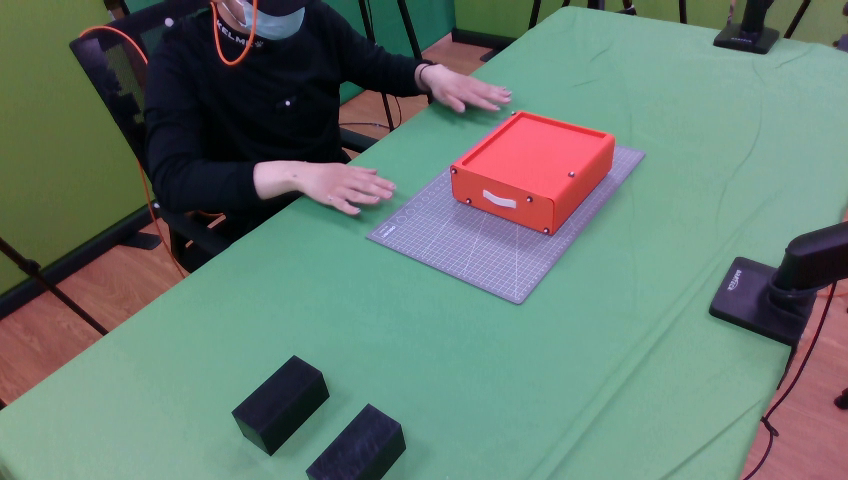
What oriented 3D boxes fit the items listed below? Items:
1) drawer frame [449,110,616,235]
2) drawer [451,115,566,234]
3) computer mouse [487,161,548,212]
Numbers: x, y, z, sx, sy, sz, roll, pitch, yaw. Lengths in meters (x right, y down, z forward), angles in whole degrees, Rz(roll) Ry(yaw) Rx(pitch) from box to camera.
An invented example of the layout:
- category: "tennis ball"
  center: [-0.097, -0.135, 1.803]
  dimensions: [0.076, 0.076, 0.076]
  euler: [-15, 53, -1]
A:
- category: "drawer frame"
  center: [0.186, -0.124, 1.035]
  dimensions: [0.200, 0.083, 0.214]
  euler: [23, 48, 31]
- category: "drawer"
  center: [0.185, -0.121, 1.034]
  dimensions: [0.193, 0.073, 0.212]
  euler: [23, 48, 31]
- category: "computer mouse"
  center: [0.158, -0.095, 1.025]
  dimensions: [0.063, 0.041, 0.116]
  euler: [-15, 48, -21]
